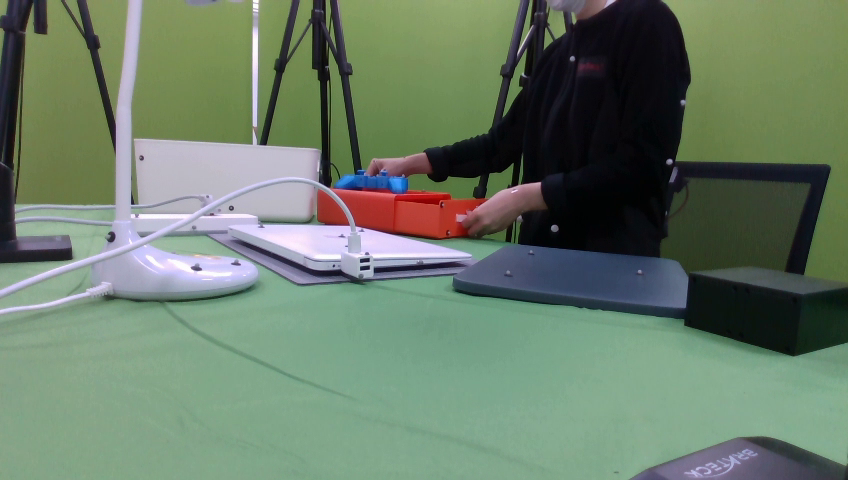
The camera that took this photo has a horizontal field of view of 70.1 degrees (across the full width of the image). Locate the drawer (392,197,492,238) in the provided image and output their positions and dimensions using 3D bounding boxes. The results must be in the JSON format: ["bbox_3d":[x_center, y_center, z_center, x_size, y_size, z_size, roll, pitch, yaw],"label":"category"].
[{"bbox_3d":[0.002,-0.055,1.227,0.211,0.073,0.195,7,9,35],"label":"drawer"}]

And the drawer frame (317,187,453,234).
[{"bbox_3d":[-0.082,-0.068,1.282,0.212,0.082,0.203,7,9,35],"label":"drawer frame"}]

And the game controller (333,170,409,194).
[{"bbox_3d":[-0.107,-0.121,1.289,0.155,0.051,0.097,5,4,10],"label":"game controller"}]

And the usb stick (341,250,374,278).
[{"bbox_3d":[-0.079,0.026,0.686,0.021,0.027,0.059,-8,8,-30],"label":"usb stick"}]

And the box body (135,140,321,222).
[{"bbox_3d":[-0.420,-0.133,1.354,0.365,0.160,0.253,2,7,-8],"label":"box body"}]

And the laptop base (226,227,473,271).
[{"bbox_3d":[-0.124,0.011,0.889,0.237,0.023,0.352,2,6,-35],"label":"laptop base"}]

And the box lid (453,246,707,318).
[{"bbox_3d":[0.204,0.044,0.780,0.262,0.015,0.372,5,7,17],"label":"box lid"}]

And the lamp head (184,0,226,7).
[{"bbox_3d":[-0.229,-0.320,0.627,0.112,0.112,0.123,6,-36,26],"label":"lamp head"}]

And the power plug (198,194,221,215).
[{"bbox_3d":[-0.386,-0.055,1.088,0.035,0.052,0.072,-2,7,-24],"label":"power plug"}]

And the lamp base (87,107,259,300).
[{"bbox_3d":[-0.254,-0.039,0.603,0.160,0.180,0.179,4,10,18],"label":"lamp base"}]

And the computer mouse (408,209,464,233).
[{"bbox_3d":[0.025,-0.038,1.206,0.062,0.041,0.118,14,18,41],"label":"computer mouse"}]

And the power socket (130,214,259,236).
[{"bbox_3d":[-0.397,-0.028,1.048,0.228,0.032,0.072,-3,7,-35],"label":"power socket"}]

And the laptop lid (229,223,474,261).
[{"bbox_3d":[-0.121,0.000,0.888,0.243,0.013,0.355,1,7,-33],"label":"laptop lid"}]
